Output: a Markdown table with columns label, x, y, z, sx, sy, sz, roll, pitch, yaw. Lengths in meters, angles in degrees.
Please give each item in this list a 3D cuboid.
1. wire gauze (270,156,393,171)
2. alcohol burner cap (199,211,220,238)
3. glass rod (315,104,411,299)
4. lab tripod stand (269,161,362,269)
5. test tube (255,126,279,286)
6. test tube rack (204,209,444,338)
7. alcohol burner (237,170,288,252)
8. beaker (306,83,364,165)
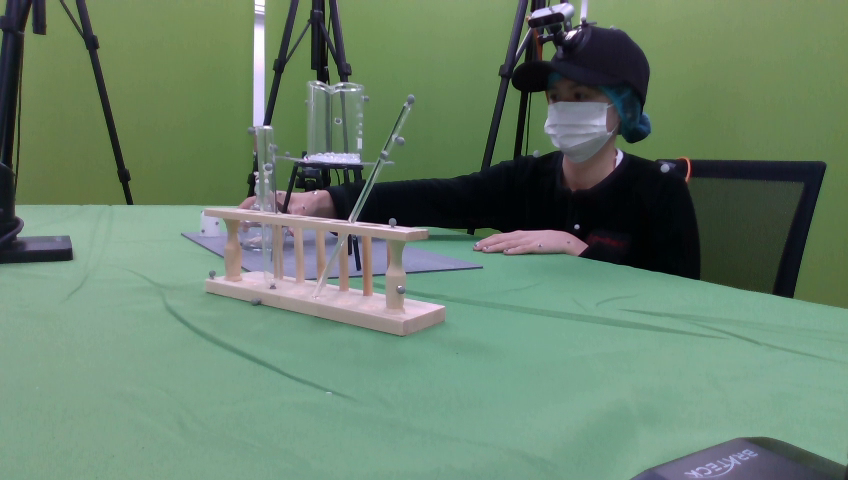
| label | x | y | z | sx | sy | sz | roll | pitch | yaw |
| --- | --- | --- | --- | --- | --- | --- | --- | --- | --- |
| wire gauze | -0.122 | -0.100 | 0.786 | 0.122 | 0.011 | 0.124 | -5 | 14 | -38 |
| alcohol burner cap | -0.356 | -0.027 | 1.002 | 0.034 | 0.048 | 0.034 | 2 | 7 | 0 |
| glass rod | -0.055 | -0.026 | 0.516 | 0.008 | 0.199 | 0.008 | 23 | 24 | -11 |
| lab tripod stand | -0.125 | -0.036 | 0.794 | 0.148 | 0.131 | 0.148 | 5 | 7 | 0 |
| test tube | -0.147 | -0.031 | 0.566 | 0.017 | 0.150 | 0.017 | -1 | 8 | 0 |
| test tube rack | -0.100 | 0.021 | 0.565 | 0.241 | 0.085 | 0.067 | 7 | 9 | 32 |
| alcohol burner | -0.236 | -0.042 | 0.883 | 0.078 | 0.119 | 0.078 | 2 | 9 | 0 |
| beaker | -0.115 | -0.147 | 0.775 | 0.074 | 0.100 | 0.084 | 2 | 8 | -2 |
